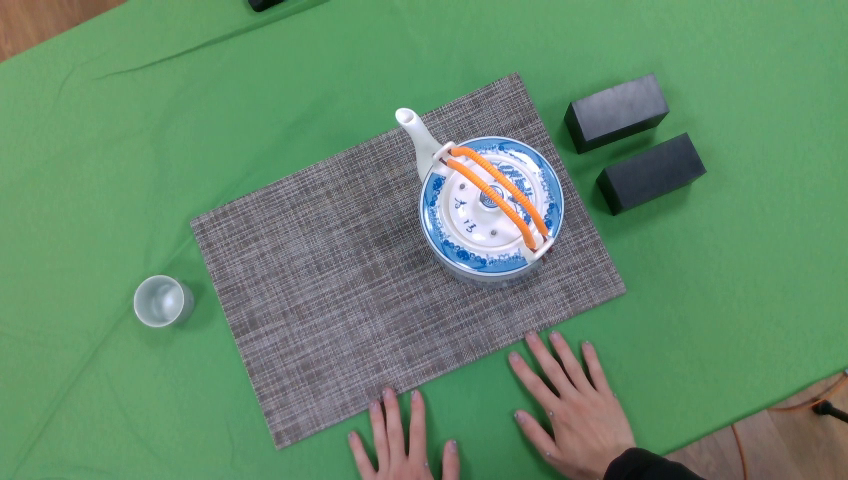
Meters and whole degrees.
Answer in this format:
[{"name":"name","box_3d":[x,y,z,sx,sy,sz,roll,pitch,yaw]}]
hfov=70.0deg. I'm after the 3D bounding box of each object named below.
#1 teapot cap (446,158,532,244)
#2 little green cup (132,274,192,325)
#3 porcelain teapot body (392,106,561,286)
[{"name":"teapot cap","box_3d":[0.062,-0.039,0.579,0.085,0.044,0.085,-1,79,4]},{"name":"little green cup","box_3d":[-0.313,0.073,0.730,0.061,0.039,0.061,-1,81,5]},{"name":"porcelain teapot body","box_3d":[0.044,-0.052,0.623,0.204,0.226,0.145,43,87,10]}]
